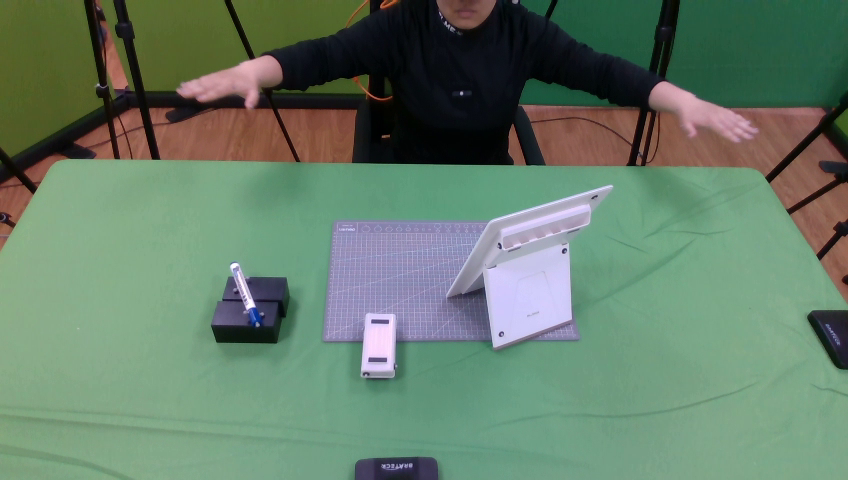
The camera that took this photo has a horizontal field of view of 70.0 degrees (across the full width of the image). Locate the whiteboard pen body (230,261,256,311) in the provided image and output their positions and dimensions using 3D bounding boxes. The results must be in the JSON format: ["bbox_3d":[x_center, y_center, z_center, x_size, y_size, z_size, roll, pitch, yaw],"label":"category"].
[{"bbox_3d":[-0.304,0.086,1.025,0.017,0.017,0.140,-18,50,-20],"label":"whiteboard pen body"}]

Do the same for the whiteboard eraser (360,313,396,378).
[{"bbox_3d":[-0.075,0.176,1.006,0.055,0.042,0.112,3,50,-4],"label":"whiteboard eraser"}]

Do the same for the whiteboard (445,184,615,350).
[{"bbox_3d":[0.186,0.065,0.989,0.217,0.306,0.143,-15,68,-18],"label":"whiteboard"}]

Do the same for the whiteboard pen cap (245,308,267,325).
[{"bbox_3d":[-0.273,0.126,0.987,0.033,0.018,0.018,30,49,0],"label":"whiteboard pen cap"}]
